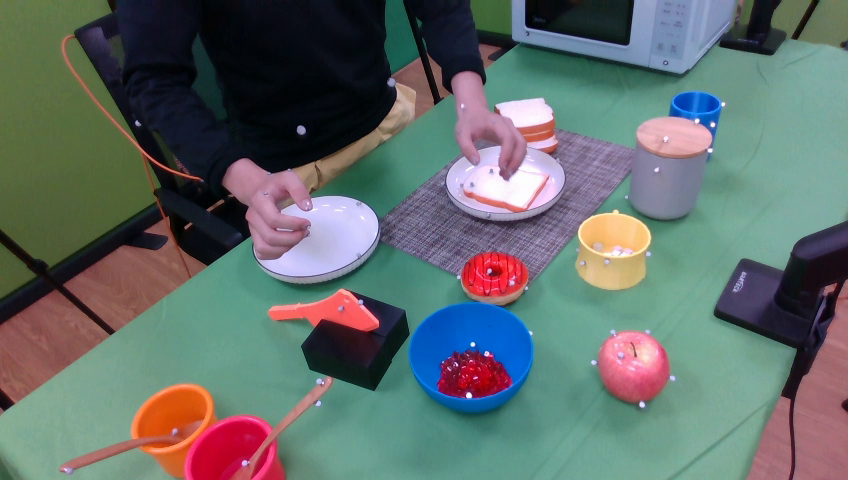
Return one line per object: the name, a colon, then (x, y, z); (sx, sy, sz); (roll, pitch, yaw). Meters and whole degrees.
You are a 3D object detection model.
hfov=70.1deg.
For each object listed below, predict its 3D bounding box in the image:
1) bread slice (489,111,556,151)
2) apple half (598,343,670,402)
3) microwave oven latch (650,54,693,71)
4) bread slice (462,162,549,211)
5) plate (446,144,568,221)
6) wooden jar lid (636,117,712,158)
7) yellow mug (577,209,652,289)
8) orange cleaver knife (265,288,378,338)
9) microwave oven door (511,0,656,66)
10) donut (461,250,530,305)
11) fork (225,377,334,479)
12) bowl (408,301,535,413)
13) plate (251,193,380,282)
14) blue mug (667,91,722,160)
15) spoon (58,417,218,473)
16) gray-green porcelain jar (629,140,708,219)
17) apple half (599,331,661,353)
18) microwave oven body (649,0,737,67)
bread slice: (0.192, -0.204, 1.165); (0.105, 0.019, 0.130); (-13, 40, -5)
apple half: (0.247, 0.161, 0.710); (0.081, 0.075, 0.053); (2, 47, 5)
microwave oven latch: (0.531, -0.386, 1.301); (0.078, 0.029, 0.030); (26, 51, 33)
bread slice: (0.135, -0.093, 1.045); (0.133, 0.018, 0.107); (15, 44, 23)
plate: (0.142, -0.096, 1.045); (0.207, 0.039, 0.206); (-4, 40, 4)
wooden jar lid: (0.377, -0.151, 0.917); (0.108, 0.021, 0.108); (-2, 41, 3)
yellow mug: (0.279, 0.004, 0.893); (0.099, 0.064, 0.130); (5, 41, 15)
orange cleaver knife: (-0.143, 0.105, 0.823); (0.210, 0.077, 0.012); (-12, 30, 43)
microwave oven door: (0.351, -0.539, 1.348); (0.353, 0.245, 0.039); (24, 50, 31)
donut: (0.104, 0.053, 0.872); (0.099, 0.048, 0.098); (-5, 40, 5)
fork: (-0.163, 0.216, 0.646); (0.207, 0.019, 0.028); (-49, 42, 16)
bowl: (0.059, 0.156, 0.739); (0.151, 0.077, 0.150); (-4, 40, 4)
plate: (-0.174, -0.001, 0.985); (0.209, 0.038, 0.208); (-4, 40, 4)
blue mug: (0.474, -0.207, 1.079); (0.082, 0.106, 0.116); (4, 42, 13)
spoon: (-0.304, 0.221, 0.661); (0.041, 0.195, 0.021); (19, 92, 27)
gray-green porcelain jar: (0.383, -0.105, 0.958); (0.106, 0.127, 0.105); (-4, 41, 4)
apple half: (0.249, 0.134, 0.738); (0.081, 0.081, 0.032); (-2, 46, 7)
microwave oven body: (0.475, -0.602, 1.411); (0.438, 0.261, 0.327); (23, 50, 32)
